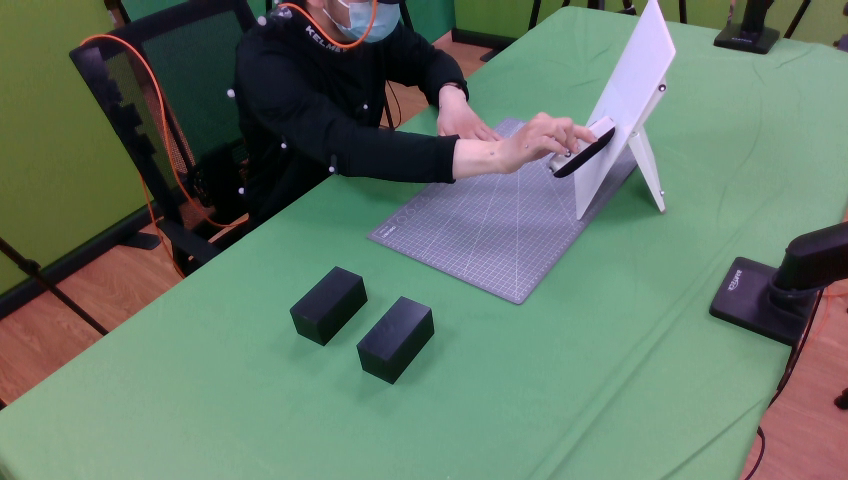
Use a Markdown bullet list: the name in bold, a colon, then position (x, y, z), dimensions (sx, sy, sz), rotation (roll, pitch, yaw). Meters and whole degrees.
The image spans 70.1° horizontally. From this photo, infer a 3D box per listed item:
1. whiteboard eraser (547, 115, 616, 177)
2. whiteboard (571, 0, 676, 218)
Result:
- **whiteboard eraser**: position (0.246, -0.143, 0.937), dimensions (0.112, 0.055, 0.042), rotation (-40, 86, 1)
- **whiteboard**: position (0.364, -0.187, 0.964), dimensions (0.144, 0.305, 0.216), rotation (18, 42, -3)
